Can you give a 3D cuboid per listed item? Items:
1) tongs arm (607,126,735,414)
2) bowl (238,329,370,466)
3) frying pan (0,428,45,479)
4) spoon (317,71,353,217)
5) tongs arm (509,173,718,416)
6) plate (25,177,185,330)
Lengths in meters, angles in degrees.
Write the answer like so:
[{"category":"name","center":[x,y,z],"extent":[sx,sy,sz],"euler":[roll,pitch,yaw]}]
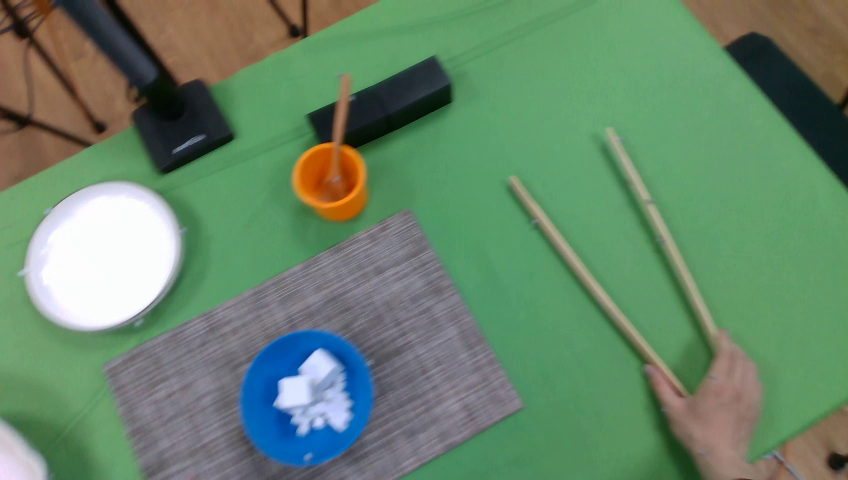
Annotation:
[{"category":"tongs arm","center":[0.299,0.028,0.771],"extent":[0.051,0.027,0.382],"euler":[-21,74,-3]},{"category":"bowl","center":[-0.133,0.186,0.715],"extent":[0.151,0.077,0.150],"euler":[-1,72,2]},{"category":"frying pan","center":[-0.515,0.424,0.649],"extent":[0.307,0.103,0.483],"euler":[-30,65,-6]},{"category":"spoon","center":[-0.110,-0.119,0.779],"extent":[0.041,0.195,0.021],"euler":[19,30,12]},{"category":"tongs arm","center":[0.227,0.063,0.767],"extent":[0.028,0.028,0.385],"euler":[-33,74,-10]},{"category":"plate","center":[-0.418,0.019,0.808],"extent":[0.207,0.039,0.206],"euler":[-1,73,3]}]
